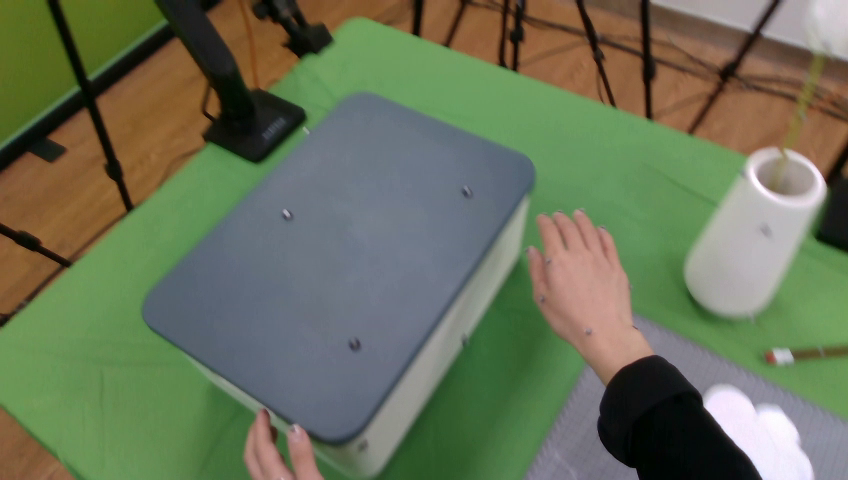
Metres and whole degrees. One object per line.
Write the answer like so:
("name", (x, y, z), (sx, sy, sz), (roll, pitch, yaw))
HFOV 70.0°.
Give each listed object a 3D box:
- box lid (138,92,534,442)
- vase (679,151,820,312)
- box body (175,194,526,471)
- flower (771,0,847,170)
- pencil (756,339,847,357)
("box lid", (-0.076, -0.008, 0.621), (0.261, 0.015, 0.370), (26, 60, 20))
("vase", (0.348, -0.005, 0.659), (0.098, 0.202, 0.097), (-2, 53, 3))
("box body", (-0.072, 0.037, 0.681), (0.252, 0.162, 0.363), (26, 60, 21))
("flower", (0.344, -0.065, 0.600), (0.044, 0.365, 0.038), (20, 41, 21))
("pencil", (0.470, 0.116, 0.680), (0.194, 0.012, 0.012), (-6, 54, -2))
